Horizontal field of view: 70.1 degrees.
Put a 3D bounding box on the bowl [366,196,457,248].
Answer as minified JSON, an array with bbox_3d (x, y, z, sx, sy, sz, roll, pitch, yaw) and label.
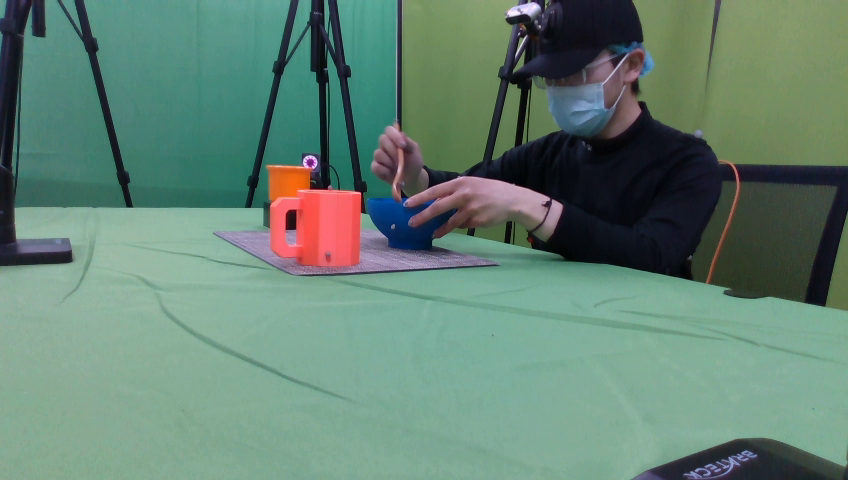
[{"bbox_3d":[-0.022,-0.030,1.000,0.151,0.077,0.151,2,7,0],"label":"bowl"}]

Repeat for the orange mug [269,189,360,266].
[{"bbox_3d":[-0.143,-0.019,0.796,0.127,0.100,0.083,2,5,-39],"label":"orange mug"}]

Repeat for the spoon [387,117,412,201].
[{"bbox_3d":[-0.042,-0.134,1.029,0.041,0.193,0.021,-1,-24,-1],"label":"spoon"}]
